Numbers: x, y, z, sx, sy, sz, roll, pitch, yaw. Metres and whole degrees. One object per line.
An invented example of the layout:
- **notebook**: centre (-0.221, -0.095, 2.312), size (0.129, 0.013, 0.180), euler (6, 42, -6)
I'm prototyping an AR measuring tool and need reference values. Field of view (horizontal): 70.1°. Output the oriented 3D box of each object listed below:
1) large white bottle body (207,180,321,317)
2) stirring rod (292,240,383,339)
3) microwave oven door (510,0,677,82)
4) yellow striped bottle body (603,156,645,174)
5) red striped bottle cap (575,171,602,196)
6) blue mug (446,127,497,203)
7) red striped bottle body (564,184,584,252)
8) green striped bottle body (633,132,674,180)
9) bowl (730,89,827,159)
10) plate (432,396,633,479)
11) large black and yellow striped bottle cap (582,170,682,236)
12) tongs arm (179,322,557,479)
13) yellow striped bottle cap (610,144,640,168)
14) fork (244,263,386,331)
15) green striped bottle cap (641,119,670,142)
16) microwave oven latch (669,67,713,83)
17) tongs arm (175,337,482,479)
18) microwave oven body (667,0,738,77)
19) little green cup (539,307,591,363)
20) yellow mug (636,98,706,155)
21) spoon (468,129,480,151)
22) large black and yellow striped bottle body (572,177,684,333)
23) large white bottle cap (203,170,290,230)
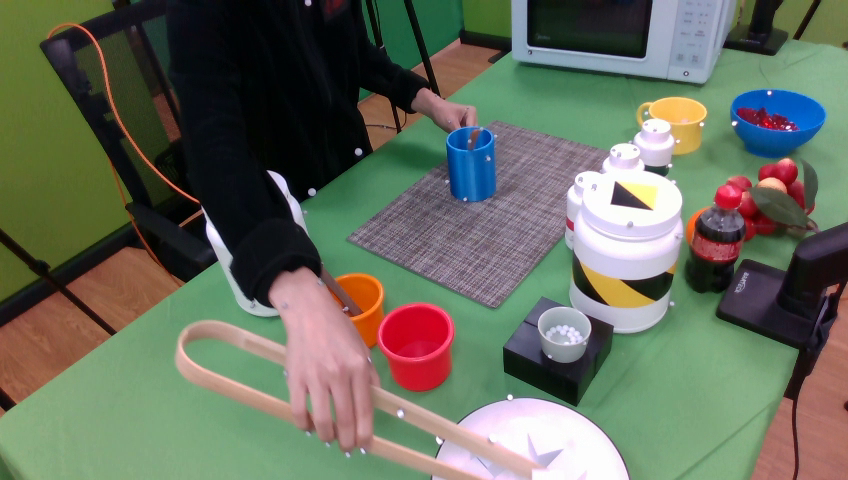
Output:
- **large white bottle body**: centre (-0.232, 0.007, 0.876), size (0.130, 0.185, 0.130), euler (-5, 40, 4)
- **stirring rod**: centre (-0.118, 0.068, 0.825), size (0.176, 0.006, 0.014), euler (48, 59, -3)
- **microwave oven door**: centre (0.352, -0.477, 1.289), size (0.353, 0.245, 0.039), euler (15, 44, 25)
- **yellow striped bottle body**: centre (0.313, -0.089, 0.956), size (0.063, 0.121, 0.062), euler (-4, 40, 4)
- **red striped bottle cap**: centre (0.242, -0.081, 0.876), size (0.044, 0.018, 0.044), euler (-5, 43, 5)
- **blue mug**: centre (0.082, -0.141, 1.061), size (0.082, 0.106, 0.116), euler (-8, 40, 0)
- **red striped bottle body**: centre (0.247, -0.041, 0.910), size (0.063, 0.120, 0.062), euler (-3, 39, 3)
- **green striped bottle body**: centre (0.376, -0.135, 1.001), size (0.063, 0.120, 0.063), euler (-5, 40, 5)
- **bowl**: centre (0.615, -0.197, 1.069), size (0.151, 0.077, 0.150), euler (-5, 40, 4)
- **plate**: centre (0.112, 0.261, 0.634), size (0.209, 0.038, 0.208), euler (-5, 40, 4)
- **large black and yellow striped bottle cap**: centre (0.252, -0.048, 0.735), size (0.115, 0.019, 0.114), euler (-3, 40, 3)
- **tongs arm**: centre (-0.050, 0.168, 0.583), size (0.385, 0.026, 0.050), euler (26, 40, -1)
- **yellow striped bottle cap**: centre (0.307, -0.128, 0.923), size (0.044, 0.019, 0.044), euler (-5, 39, 5)
- **fork**: centre (-0.141, 0.077, 0.806), size (0.209, 0.018, 0.028), euler (30, 44, -24)
- **green striped bottle cap**: centre (0.371, -0.175, 0.968), size (0.044, 0.020, 0.044), euler (-6, 41, 6)
- **microwave oven latch**: centre (0.556, -0.349, 1.261), size (0.078, 0.029, 0.030), euler (16, 46, 27)
- **tongs arm**: centre (-0.055, 0.182, 0.565), size (0.388, 0.028, 0.028), euler (24, 43, -5)
- **microwave oven body**: centre (0.462, -0.552, 1.369), size (0.439, 0.261, 0.326), euler (15, 45, 26)
- **little green cup**: centre (0.167, 0.114, 0.721), size (0.061, 0.039, 0.061), euler (-4, 43, 4)
- **yellow mug**: centre (0.453, -0.217, 1.128), size (0.100, 0.064, 0.129), euler (-34, 46, -27)
- **spoon**: centre (0.077, -0.144, 0.998), size (0.041, 0.194, 0.021), euler (-8, 74, -1)
- **large black and yellow striped bottle body**: centre (0.262, 0.017, 0.788), size (0.131, 0.185, 0.130), euler (-5, 40, 4)
- **large white bottle cap**: centre (-0.241, -0.057, 0.822), size (0.115, 0.018, 0.114), euler (-4, 40, 4)
